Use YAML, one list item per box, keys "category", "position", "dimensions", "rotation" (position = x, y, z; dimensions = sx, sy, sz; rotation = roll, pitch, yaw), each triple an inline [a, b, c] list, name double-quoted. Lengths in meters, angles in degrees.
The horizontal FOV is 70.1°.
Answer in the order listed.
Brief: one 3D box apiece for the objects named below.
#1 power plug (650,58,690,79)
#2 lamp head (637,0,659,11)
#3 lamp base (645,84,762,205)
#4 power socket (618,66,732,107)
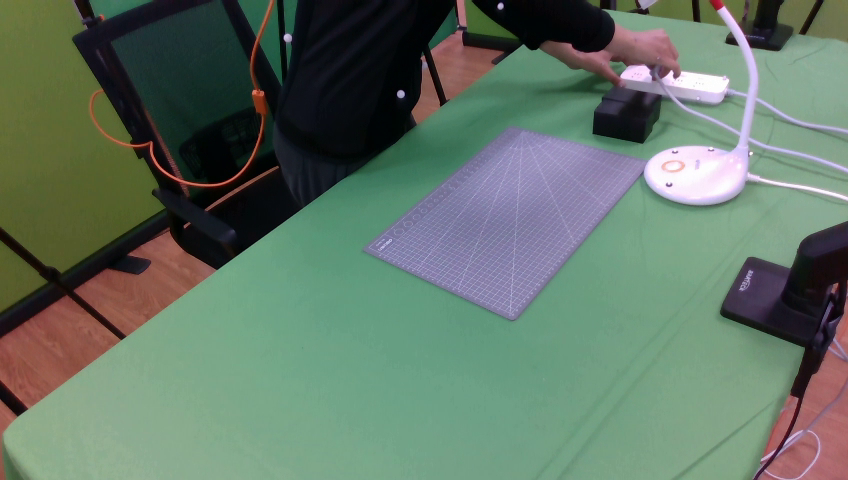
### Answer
- category: "power plug"
  position: [0.503, -0.349, 1.245]
  dimensions: [0.072, 0.053, 0.035]
  rotation: [7, 70, 8]
- category: "lamp head"
  position: [0.330, -0.391, 0.828]
  dimensions: [0.122, 0.113, 0.112]
  rotation: [-21, 35, 25]
- category: "lamp base"
  position: [0.461, -0.170, 0.975]
  dimensions: [0.179, 0.181, 0.160]
  rotation: [2, 41, 11]
- category: "power socket"
  position: [0.518, -0.322, 1.260]
  dimensions: [0.225, 0.033, 0.072]
  rotation: [19, 49, 30]
